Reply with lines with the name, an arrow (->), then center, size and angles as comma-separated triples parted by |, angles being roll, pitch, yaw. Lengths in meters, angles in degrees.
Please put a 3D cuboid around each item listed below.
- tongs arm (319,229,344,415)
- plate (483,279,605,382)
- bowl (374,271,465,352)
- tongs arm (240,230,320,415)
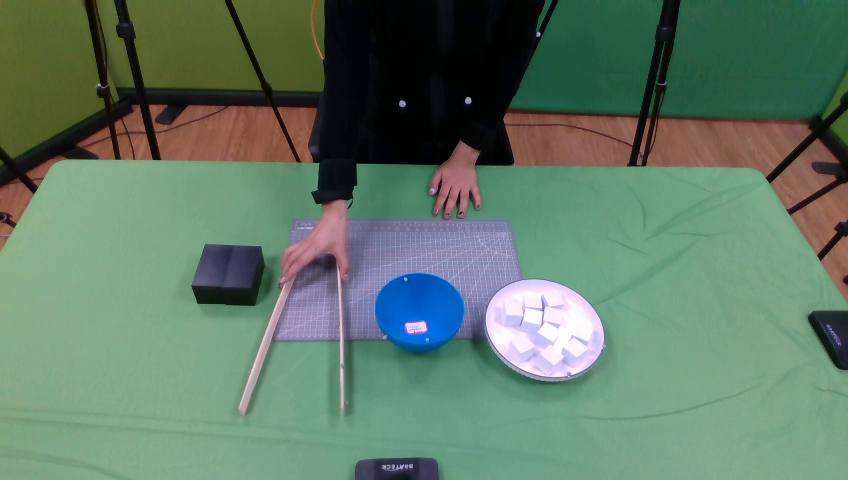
tongs arm -> -0.164, 0.125, 1.055 | 0.051, 0.027, 0.382 | -4, 47, -2
plate -> 0.204, 0.158, 1.046 | 0.208, 0.039, 0.206 | 3, 47, -3
bowl -> -0.009, 0.136, 1.024 | 0.151, 0.077, 0.150 | 2, 47, -2
tongs arm -> -0.246, 0.125, 1.055 | 0.028, 0.028, 0.385 | 3, 46, 10
